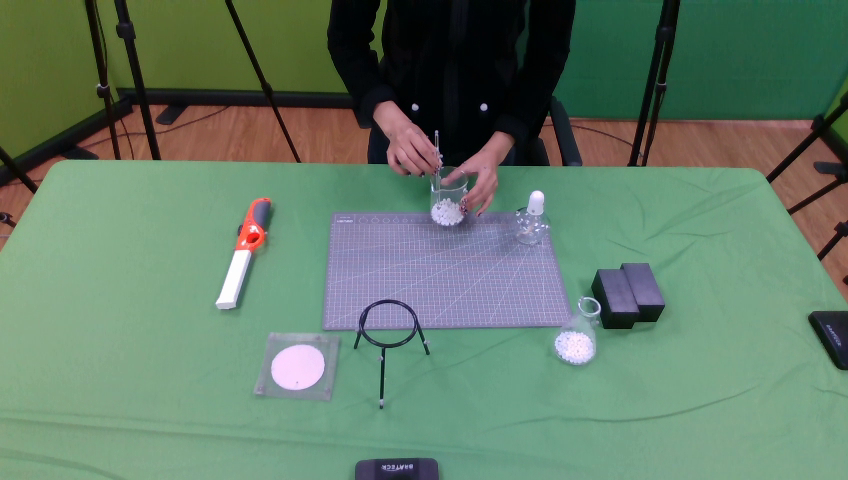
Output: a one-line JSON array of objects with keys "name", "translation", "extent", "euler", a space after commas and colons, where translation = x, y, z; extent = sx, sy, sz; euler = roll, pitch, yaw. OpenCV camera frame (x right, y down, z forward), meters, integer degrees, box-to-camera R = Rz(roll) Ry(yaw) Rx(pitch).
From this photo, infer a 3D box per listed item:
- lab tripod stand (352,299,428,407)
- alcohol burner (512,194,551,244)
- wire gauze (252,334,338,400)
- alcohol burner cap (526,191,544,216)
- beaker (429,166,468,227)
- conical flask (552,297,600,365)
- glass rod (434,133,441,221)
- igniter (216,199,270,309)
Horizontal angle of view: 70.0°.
[{"name": "lab tripod stand", "translation": [-0.056, 0.166, 0.958], "extent": [0.148, 0.132, 0.147], "euler": [3, 44, -2]}, {"name": "alcohol burner", "translation": [0.215, -0.048, 1.196], "extent": [0.078, 0.119, 0.077], "euler": [4, 46, -4]}, {"name": "wire gauze", "translation": [-0.209, 0.204, 0.996], "extent": [0.125, 0.011, 0.120], "euler": [3, 45, 1]}, {"name": "alcohol burner cap", "translation": [0.216, -0.073, 1.170], "extent": [0.034, 0.048, 0.033], "euler": [0, 42, 0]}, {"name": "beaker", "translation": [0.044, -0.081, 1.186], "extent": [0.073, 0.101, 0.084], "euler": [30, 51, 27]}, {"name": "conical flask", "translation": [0.261, 0.147, 1.009], "extent": [0.075, 0.122, 0.075], "euler": [2, 46, -2]}, {"name": "glass rod", "translation": [0.026, -0.114, 1.143], "extent": [0.008, 0.201, 0.008], "euler": [-2, 41, 2]}, {"name": "igniter", "translation": [-0.342, 0.016, 1.153], "extent": [0.057, 0.025, 0.275], "euler": [-3, 45, 7]}]
